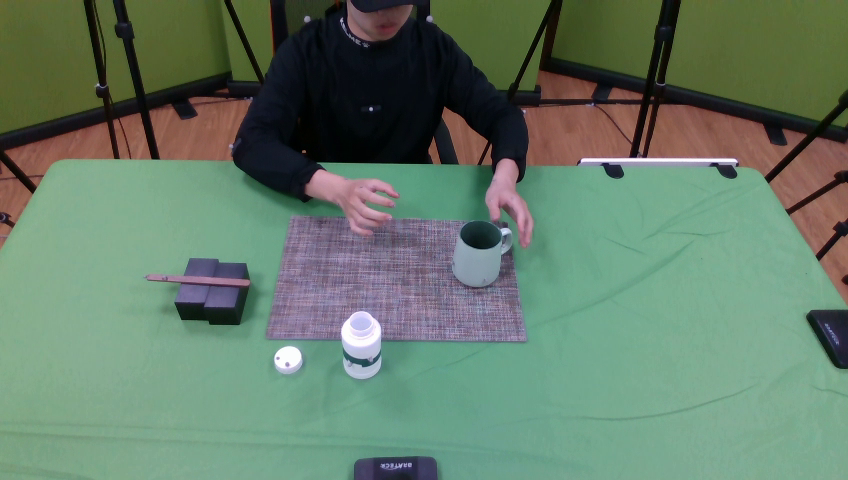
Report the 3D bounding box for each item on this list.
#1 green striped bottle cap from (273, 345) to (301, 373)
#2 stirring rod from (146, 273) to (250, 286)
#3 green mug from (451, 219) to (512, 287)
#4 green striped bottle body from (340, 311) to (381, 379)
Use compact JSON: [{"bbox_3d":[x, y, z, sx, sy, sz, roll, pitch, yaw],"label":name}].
[{"bbox_3d":[-0.225,0.195,0.997,0.044,0.020,0.044,2,50,-3],"label":"green striped bottle cap"},{"bbox_3d":[-0.389,0.068,1.044,0.176,0.006,0.014,3,44,-2],"label":"stirring rod"},{"bbox_3d":[0.112,0.019,1.125,0.125,0.105,0.092,-24,52,-25],"label":"green mug"},{"bbox_3d":[-0.101,0.164,0.964,0.063,0.120,0.063,2,46,-2],"label":"green striped bottle body"}]
